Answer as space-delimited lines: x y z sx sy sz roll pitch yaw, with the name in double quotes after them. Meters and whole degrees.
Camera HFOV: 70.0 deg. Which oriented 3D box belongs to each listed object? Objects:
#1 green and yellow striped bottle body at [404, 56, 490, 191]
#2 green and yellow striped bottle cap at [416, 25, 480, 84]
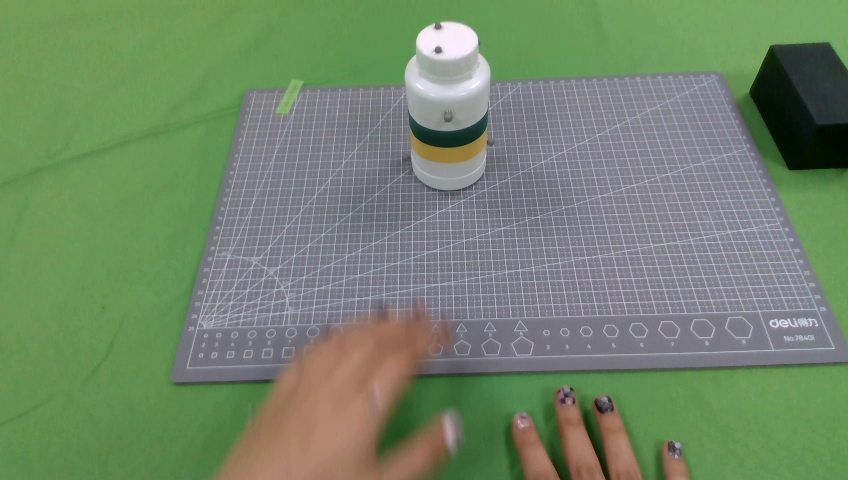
0.018 -0.099 0.465 0.063 0.121 0.062 -2 53 3 "green and yellow striped bottle body"
0.017 -0.130 0.424 0.045 0.020 0.045 -2 54 3 "green and yellow striped bottle cap"
